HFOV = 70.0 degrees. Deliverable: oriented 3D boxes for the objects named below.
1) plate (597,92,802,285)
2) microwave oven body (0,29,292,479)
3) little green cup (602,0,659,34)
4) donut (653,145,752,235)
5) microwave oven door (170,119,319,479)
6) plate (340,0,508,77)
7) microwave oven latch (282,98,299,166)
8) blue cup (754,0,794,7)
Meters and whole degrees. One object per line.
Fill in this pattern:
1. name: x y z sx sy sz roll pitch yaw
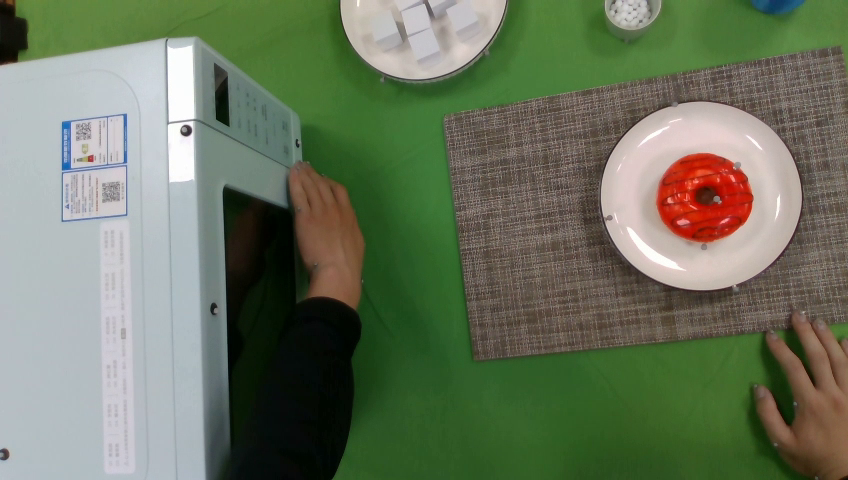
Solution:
1. plate: 0.296 -0.055 0.666 0.209 0.038 0.208 -1 86 11
2. microwave oven body: -0.322 0.050 0.660 0.325 0.261 0.440 -5 86 10
3. little green cup: 0.235 -0.270 0.696 0.061 0.039 0.061 -1 85 11
4. donut: 0.299 -0.054 0.654 0.099 0.048 0.099 -1 85 13
5. microwave oven door: -0.177 0.079 0.626 0.039 0.244 0.355 -5 85 10
6. plate: 0.001 -0.298 0.741 0.207 0.039 0.207 -1 86 10
7. microwave oven latch: -0.171 -0.131 0.742 0.030 0.029 0.079 -3 86 10
8. blue cup: 0.387 -0.295 0.638 0.092 0.100 0.092 0 87 10
